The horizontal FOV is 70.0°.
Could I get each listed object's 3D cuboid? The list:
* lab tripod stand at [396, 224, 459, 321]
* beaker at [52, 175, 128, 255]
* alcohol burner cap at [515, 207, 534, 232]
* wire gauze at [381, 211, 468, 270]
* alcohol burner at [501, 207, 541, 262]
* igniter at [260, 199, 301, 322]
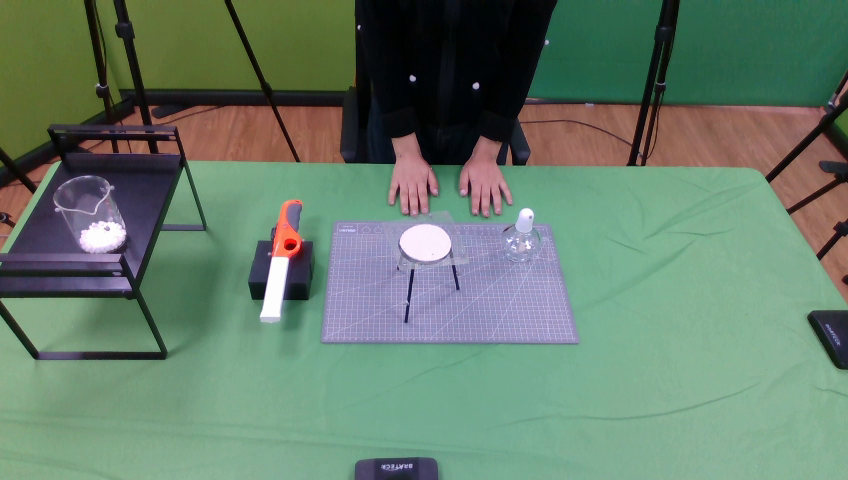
[{"bbox_3d":[-0.003,0.052,1.067,0.148,0.132,0.147,3,48,-3],"label":"lab tripod stand"},{"bbox_3d":[-0.482,-0.032,0.888,0.074,0.101,0.083,-28,55,-27],"label":"beaker"},{"bbox_3d":[0.190,-0.041,1.135,0.034,0.048,0.033,3,50,-3],"label":"alcohol burner cap"},{"bbox_3d":[0.000,0.000,1.024,0.125,0.011,0.120,-9,48,-13],"label":"wire gauze"},{"bbox_3d":[0.188,-0.015,1.161,0.078,0.120,0.077,1,44,-1],"label":"alcohol burner"},{"bbox_3d":[-0.255,0.027,1.084,0.057,0.025,0.274,3,49,-5],"label":"igniter"}]
